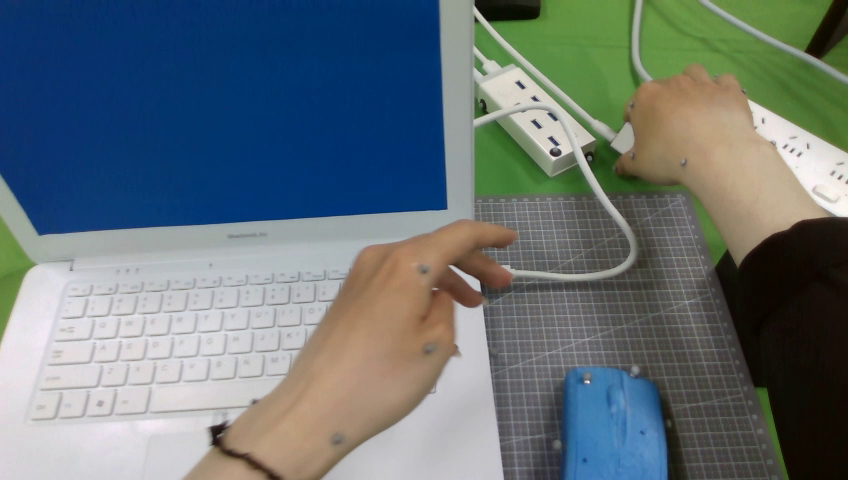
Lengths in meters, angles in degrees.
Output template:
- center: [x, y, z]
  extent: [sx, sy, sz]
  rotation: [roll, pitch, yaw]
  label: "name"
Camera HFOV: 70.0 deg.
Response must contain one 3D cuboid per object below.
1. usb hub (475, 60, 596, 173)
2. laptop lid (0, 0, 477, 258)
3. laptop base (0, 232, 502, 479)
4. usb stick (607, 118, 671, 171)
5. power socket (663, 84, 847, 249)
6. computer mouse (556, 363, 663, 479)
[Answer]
- center: [0.100, -0.117, 0.563]
  extent: [0.049, 0.025, 0.124]
  rotation: [-26, 58, -16]
  label: "usb hub"
- center: [-0.141, -0.082, 0.407]
  extent: [0.357, 0.244, 0.013]
  rotation: [-5, 42, 1]
  label: "laptop lid"
- center: [-0.130, 0.104, 0.421]
  extent: [0.354, 0.023, 0.233]
  rotation: [-4, 58, 0]
  label: "laptop base"
- center: [0.194, -0.082, 0.534]
  extent: [0.059, 0.027, 0.021]
  rotation: [30, 36, 5]
  label: "usb stick"
- center: [0.315, -0.061, 0.513]
  extent: [0.072, 0.033, 0.224]
  rotation: [-38, 62, -22]
  label: "power socket"
- center: [0.116, 0.129, 0.381]
  extent: [0.062, 0.041, 0.116]
  rotation: [7, 51, 10]
  label: "computer mouse"
